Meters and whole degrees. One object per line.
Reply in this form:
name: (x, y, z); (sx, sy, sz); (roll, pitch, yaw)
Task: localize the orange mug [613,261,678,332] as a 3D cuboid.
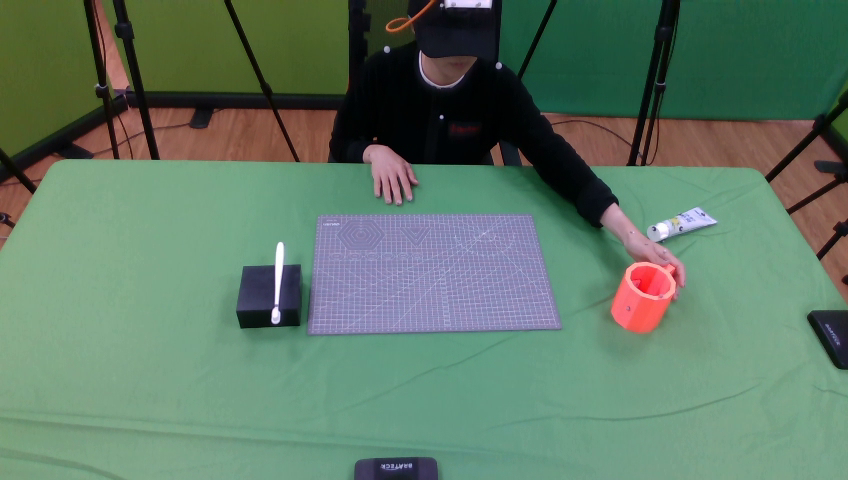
orange mug: (0.403, 0.091, 1.078); (0.126, 0.101, 0.083); (-33, 56, -25)

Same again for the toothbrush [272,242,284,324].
toothbrush: (-0.253, 0.068, 1.048); (0.014, 0.017, 0.180); (-6, 46, -3)

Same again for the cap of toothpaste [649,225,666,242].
cap of toothpaste: (0.473, -0.015, 1.226); (0.011, 0.037, 0.037); (-20, 50, -26)

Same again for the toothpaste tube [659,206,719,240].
toothpaste tube: (0.542, -0.035, 1.259); (0.165, 0.034, 0.054); (-19, 54, -26)
